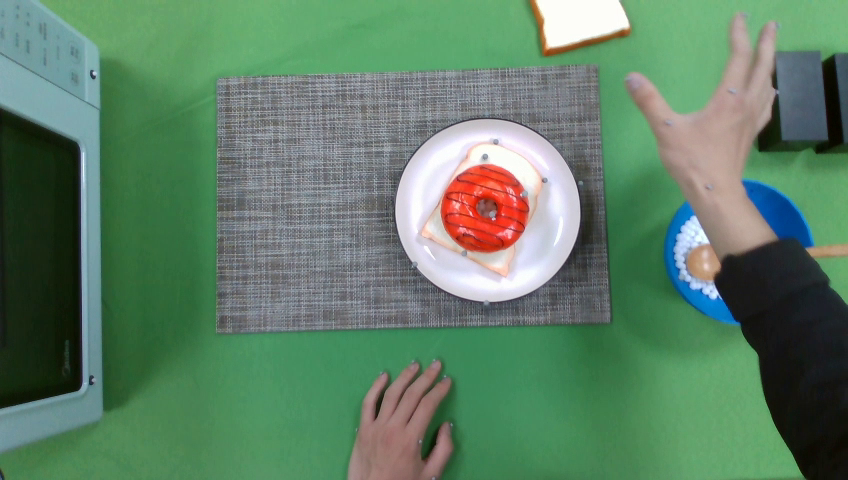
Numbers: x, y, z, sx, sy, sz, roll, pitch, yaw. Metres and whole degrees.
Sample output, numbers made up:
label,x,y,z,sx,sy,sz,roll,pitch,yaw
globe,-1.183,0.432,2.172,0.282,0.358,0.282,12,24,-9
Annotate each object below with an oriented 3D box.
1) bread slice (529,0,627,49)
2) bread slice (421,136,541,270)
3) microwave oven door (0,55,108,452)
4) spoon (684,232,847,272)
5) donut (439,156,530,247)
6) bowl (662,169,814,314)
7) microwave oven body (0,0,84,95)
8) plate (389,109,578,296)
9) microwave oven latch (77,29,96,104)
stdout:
label,x,y,z,sx,sy,sz,roll,pitch,yaw
bread slice,0.171,-0.300,0.714,0.105,0.019,0.131,-16,86,-1
bread slice,0.069,-0.048,0.684,0.107,0.018,0.134,23,88,3
microwave oven door,-0.385,0.011,0.573,0.039,0.244,0.355,-4,85,2
spoon,0.372,0.005,0.623,0.193,0.022,0.041,-7,78,23
donut,0.065,-0.041,0.654,0.099,0.048,0.099,0,86,2
bowl,0.324,0.005,0.656,0.151,0.077,0.151,0,85,1
microwave oven body,-0.534,-0.020,0.584,0.326,0.260,0.440,-4,86,1
plate,0.066,-0.041,0.682,0.208,0.039,0.207,0,86,1
microwave oven latch,-0.394,-0.197,0.691,0.030,0.029,0.079,-3,86,1
